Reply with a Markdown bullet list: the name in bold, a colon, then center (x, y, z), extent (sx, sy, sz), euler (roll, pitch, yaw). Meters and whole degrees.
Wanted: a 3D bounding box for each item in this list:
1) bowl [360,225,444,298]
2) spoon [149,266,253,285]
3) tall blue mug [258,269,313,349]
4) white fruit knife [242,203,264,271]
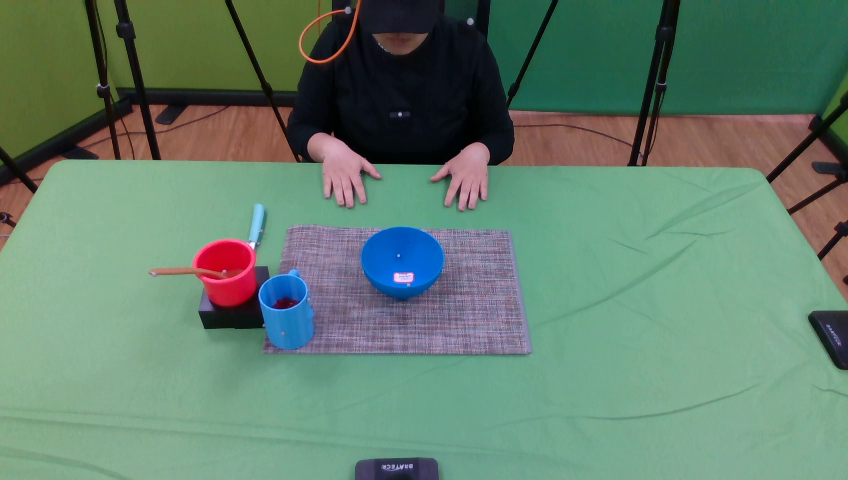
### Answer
- **bowl**: center (-0.040, 0.053, 1.099), extent (0.151, 0.077, 0.150), euler (2, 46, -2)
- **spoon**: center (-0.351, 0.052, 0.968), extent (0.041, 0.021, 0.194), euler (42, 13, 28)
- **tall blue mug**: center (-0.232, 0.108, 1.010), extent (0.078, 0.108, 0.106), euler (-15, 49, -17)
- **white fruit knife**: center (-0.334, 0.001, 1.179), extent (0.027, 0.016, 0.206), euler (-18, 46, 16)
